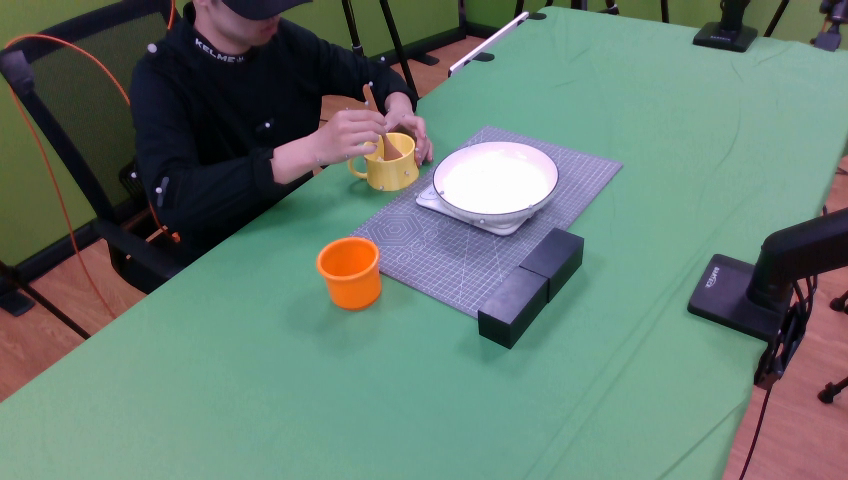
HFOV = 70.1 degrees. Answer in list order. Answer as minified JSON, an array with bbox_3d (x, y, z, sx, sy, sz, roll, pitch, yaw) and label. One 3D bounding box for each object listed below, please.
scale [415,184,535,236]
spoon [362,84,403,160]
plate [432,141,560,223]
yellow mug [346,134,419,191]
[{"bbox_3d":[0.099,-0.080,1.035,0.199,0.032,0.149,23,48,31],"label":"scale"},{"bbox_3d":[-0.072,-0.185,1.032,0.041,0.195,0.021,-22,43,1],"label":"spoon"},{"bbox_3d":[0.118,-0.094,0.999,0.209,0.038,0.208,-4,41,4],"label":"plate"},{"bbox_3d":[-0.079,-0.142,1.115,0.131,0.064,0.099,-6,38,3],"label":"yellow mug"}]
